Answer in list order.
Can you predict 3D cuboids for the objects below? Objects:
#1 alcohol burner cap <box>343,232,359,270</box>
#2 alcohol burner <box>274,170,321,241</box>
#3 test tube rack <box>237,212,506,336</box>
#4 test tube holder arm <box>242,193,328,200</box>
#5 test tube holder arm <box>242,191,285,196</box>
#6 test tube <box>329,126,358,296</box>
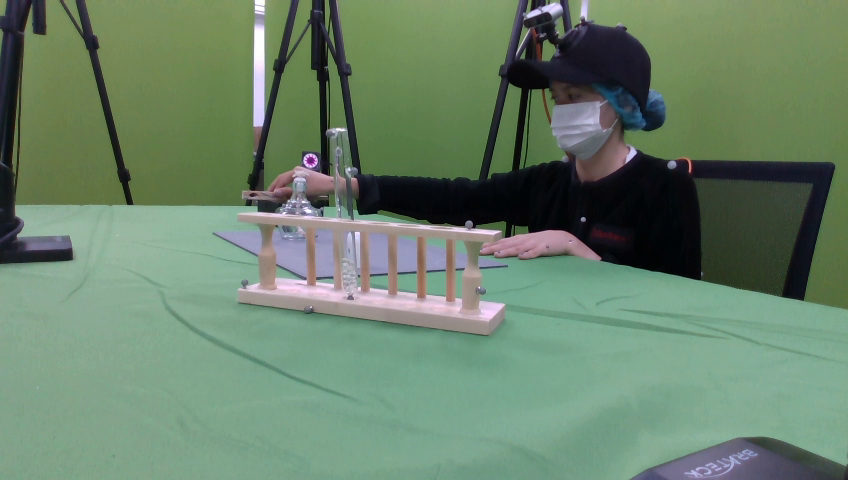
[{"bbox_3d":[-0.087,0.013,0.776,0.034,0.048,0.034,3,7,0],"label":"alcohol burner cap"},{"bbox_3d":[-0.212,-0.058,1.015,0.078,0.119,0.078,4,5,0],"label":"alcohol burner"},{"bbox_3d":[-0.049,0.024,0.552,0.242,0.085,0.067,5,8,19],"label":"test tube rack"},{"bbox_3d":[-0.288,-0.091,1.262,0.179,0.013,0.015,-2,10,-30],"label":"test tube holder arm"},{"bbox_3d":[-0.327,-0.095,1.238,0.088,0.010,0.015,-2,10,-30],"label":"test tube holder arm"},{"bbox_3d":[-0.071,-0.025,0.535,0.017,0.150,0.017,-3,8,1],"label":"test tube"}]
